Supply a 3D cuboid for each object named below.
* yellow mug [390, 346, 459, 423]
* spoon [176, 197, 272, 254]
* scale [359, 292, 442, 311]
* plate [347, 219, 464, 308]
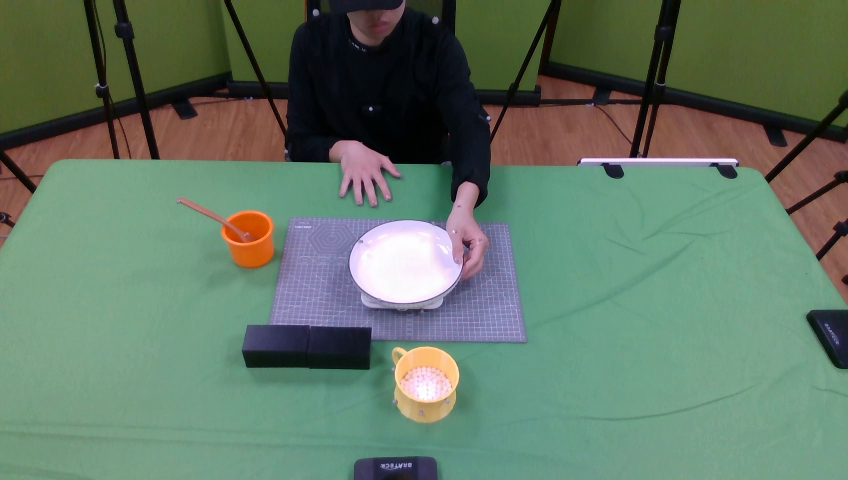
[{"bbox_3d":[-0.009,0.217,0.958,0.100,0.064,0.130,-33,56,-31],"label":"yellow mug"},{"bbox_3d":[-0.362,-0.027,1.108,0.021,0.195,0.041,-35,36,24],"label":"spoon"},{"bbox_3d":[-0.043,0.048,1.138,0.149,0.032,0.199,2,46,-4],"label":"scale"},{"bbox_3d":[-0.033,0.045,1.091,0.209,0.038,0.208,0,45,0],"label":"plate"}]
